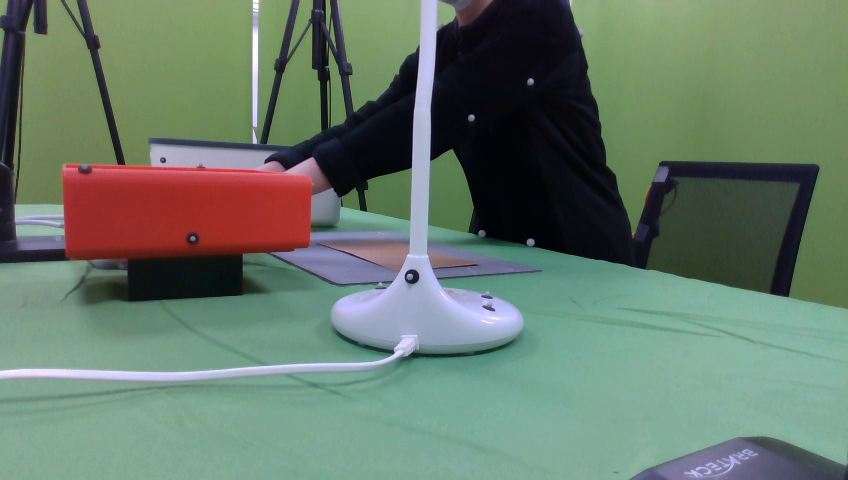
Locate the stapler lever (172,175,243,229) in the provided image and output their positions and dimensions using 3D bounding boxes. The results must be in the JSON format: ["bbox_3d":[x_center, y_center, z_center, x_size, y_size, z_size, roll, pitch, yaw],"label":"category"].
[{"bbox_3d":[-0.217,-0.041,0.618,0.027,0.040,0.118,19,11,-2],"label":"stapler lever"}]

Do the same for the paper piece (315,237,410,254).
[{"bbox_3d":[-0.084,0.008,0.949,0.136,0.004,0.134,-1,10,-32],"label":"paper piece"}]

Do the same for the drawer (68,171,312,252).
[{"bbox_3d":[-0.247,-0.036,0.629,0.213,0.073,0.193,-3,9,-30],"label":"drawer"}]

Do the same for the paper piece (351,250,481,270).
[{"bbox_3d":[-0.013,0.026,0.841,0.139,0.008,0.135,-1,11,-32],"label":"paper piece"}]

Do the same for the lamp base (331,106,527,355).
[{"bbox_3d":[0.006,-0.012,0.478,0.161,0.180,0.179,2,10,2],"label":"lamp base"}]

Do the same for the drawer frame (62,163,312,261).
[{"bbox_3d":[-0.248,-0.036,0.626,0.215,0.082,0.200,-3,9,-31],"label":"drawer frame"}]

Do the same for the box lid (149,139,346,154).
[{"bbox_3d":[-0.365,-0.191,1.255,0.373,0.015,0.262,-1,8,-24],"label":"box lid"}]

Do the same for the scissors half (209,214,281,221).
[{"bbox_3d":[-0.364,-0.044,1.216,0.174,0.013,0.040,0,2,26],"label":"scissors half"}]

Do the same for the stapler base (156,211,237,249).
[{"bbox_3d":[-0.227,-0.017,0.624,0.041,0.024,0.130,19,9,-2],"label":"stapler base"}]

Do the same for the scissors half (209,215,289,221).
[{"bbox_3d":[-0.357,-0.044,1.235,0.175,0.013,0.040,1,-4,9],"label":"scissors half"}]

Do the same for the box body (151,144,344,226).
[{"bbox_3d":[-0.370,-0.119,1.264,0.366,0.160,0.253,-1,8,-24],"label":"box body"}]

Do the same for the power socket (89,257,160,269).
[{"bbox_3d":[-0.409,0.004,0.793,0.072,0.032,0.225,-2,8,-38],"label":"power socket"}]

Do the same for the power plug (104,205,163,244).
[{"bbox_3d":[-0.390,-0.021,0.815,0.073,0.052,0.035,-1,7,-27],"label":"power plug"}]
